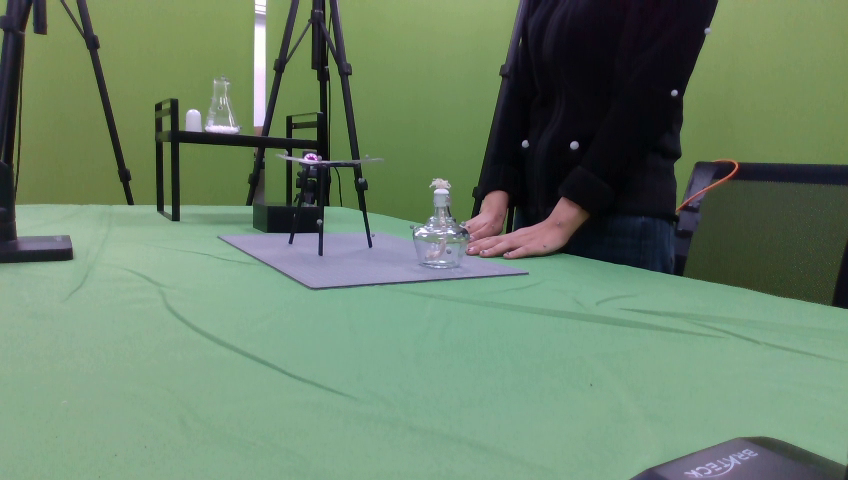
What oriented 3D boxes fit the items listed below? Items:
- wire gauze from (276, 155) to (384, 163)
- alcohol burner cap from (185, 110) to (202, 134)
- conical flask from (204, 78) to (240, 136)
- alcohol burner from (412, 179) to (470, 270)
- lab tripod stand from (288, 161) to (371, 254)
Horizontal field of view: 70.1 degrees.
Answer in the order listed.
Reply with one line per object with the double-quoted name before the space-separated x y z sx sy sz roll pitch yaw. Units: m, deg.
"wire gauze" -0.142 -0.118 0.900 0.122 0.011 0.124 -3 8 -37
"alcohol burner cap" -0.470 -0.241 1.234 0.034 0.048 0.034 3 7 0
"conical flask" -0.443 -0.292 1.327 0.075 0.122 0.075 3 7 0
"alcohol burner" 0.022 -0.021 0.805 0.078 0.119 0.078 0 8 0
"lab tripod stand" -0.148 -0.052 0.909 0.148 0.131 0.148 1 8 0
